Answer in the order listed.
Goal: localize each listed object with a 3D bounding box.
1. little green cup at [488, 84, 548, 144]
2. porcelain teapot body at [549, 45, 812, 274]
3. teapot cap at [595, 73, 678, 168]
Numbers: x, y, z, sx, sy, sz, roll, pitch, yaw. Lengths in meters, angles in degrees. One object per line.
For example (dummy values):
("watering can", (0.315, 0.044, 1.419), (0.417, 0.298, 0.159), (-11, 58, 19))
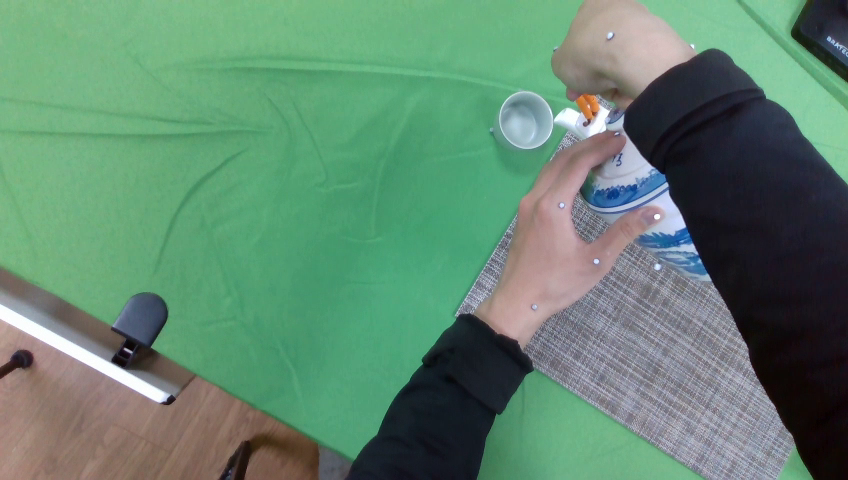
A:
("little green cup", (0.100, -0.133, 0.658), (0.062, 0.038, 0.061), (0, 88, -12))
("porcelain teapot body", (0.186, -0.083, 0.525), (0.227, 0.204, 0.145), (30, 93, -22))
("teapot cap", (0.164, -0.097, 0.482), (0.044, 0.084, 0.085), (30, 83, -19))
